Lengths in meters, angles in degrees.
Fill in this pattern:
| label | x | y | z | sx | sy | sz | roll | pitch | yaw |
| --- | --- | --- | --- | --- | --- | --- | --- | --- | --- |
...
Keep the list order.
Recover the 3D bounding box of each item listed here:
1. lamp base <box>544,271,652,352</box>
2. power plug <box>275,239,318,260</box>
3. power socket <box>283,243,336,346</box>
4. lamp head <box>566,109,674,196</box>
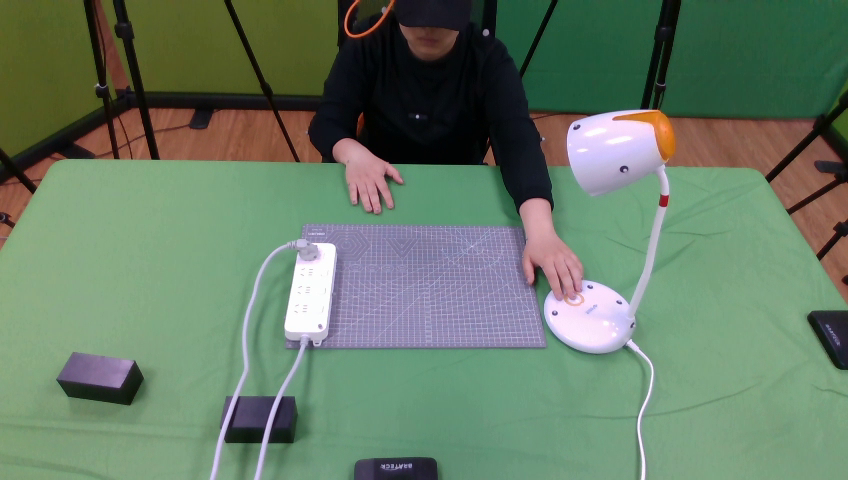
| label | x | y | z | sx | sy | sz | roll | pitch | yaw |
| --- | --- | --- | --- | --- | --- | --- | --- | --- | --- |
| lamp base | 0.309 | 0.086 | 1.029 | 0.178 | 0.181 | 0.160 | 32 | 52 | 21 |
| power plug | -0.232 | 0.018 | 1.119 | 0.072 | 0.053 | 0.035 | 9 | 46 | 6 |
| power socket | -0.202 | 0.088 | 1.086 | 0.072 | 0.033 | 0.225 | 1 | 46 | -2 |
| lamp head | 0.272 | -0.123 | 0.818 | 0.122 | 0.113 | 0.112 | -9 | 35 | 37 |
